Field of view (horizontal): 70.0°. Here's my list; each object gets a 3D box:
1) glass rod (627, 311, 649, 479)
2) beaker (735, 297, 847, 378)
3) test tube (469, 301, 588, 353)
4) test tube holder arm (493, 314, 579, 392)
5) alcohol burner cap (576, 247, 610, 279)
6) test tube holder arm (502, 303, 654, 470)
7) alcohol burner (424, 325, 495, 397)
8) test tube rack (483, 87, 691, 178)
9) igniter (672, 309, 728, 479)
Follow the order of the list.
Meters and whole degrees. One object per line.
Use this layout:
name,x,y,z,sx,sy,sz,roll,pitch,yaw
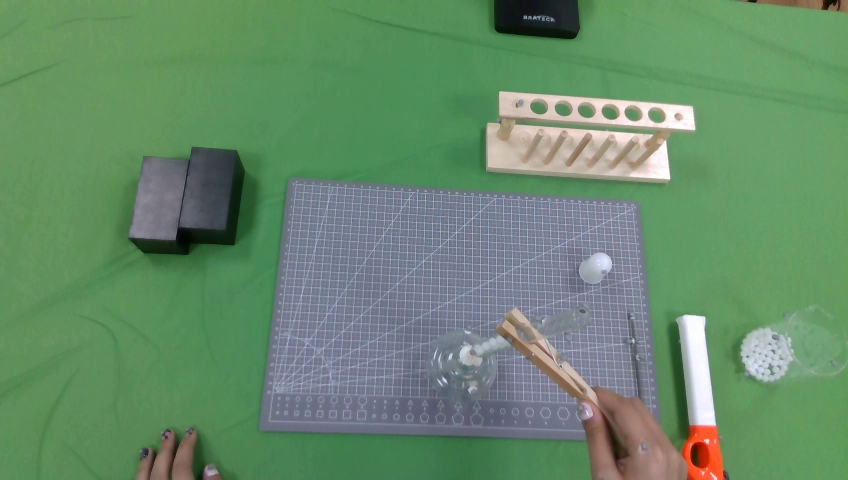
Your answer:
glass rod,0.248,0.180,0.703,0.008,0.008,0.198,3,71,-6
beaker,0.417,0.116,0.699,0.074,0.101,0.083,16,69,0
test tube,0.080,0.075,0.500,0.017,0.150,0.017,10,67,-25
test tube holder arm,0.093,0.094,0.499,0.088,0.015,0.010,40,58,-5
alcohol burner cap,0.207,0.026,0.733,0.034,0.048,0.033,2,71,-5
test tube holder arm,0.129,0.122,0.504,0.178,0.015,0.013,47,58,-1
alcohol burner,0.040,0.125,0.642,0.078,0.119,0.077,2,69,-5
test tube rack,0.202,-0.133,0.766,0.243,0.085,0.066,3,71,-5
igniter,0.314,0.215,0.692,0.057,0.025,0.274,7,71,-15
